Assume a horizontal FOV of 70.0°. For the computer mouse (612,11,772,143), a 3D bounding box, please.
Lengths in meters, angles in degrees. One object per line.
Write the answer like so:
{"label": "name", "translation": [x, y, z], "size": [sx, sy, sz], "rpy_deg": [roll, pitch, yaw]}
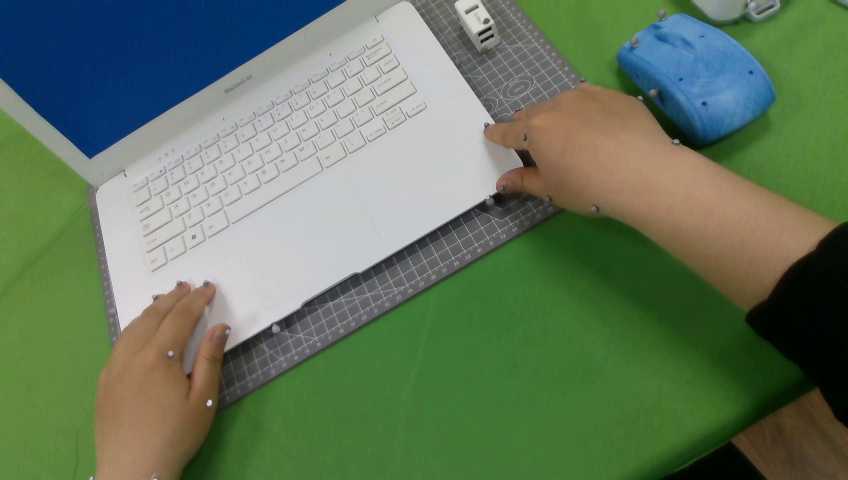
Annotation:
{"label": "computer mouse", "translation": [0.191, -0.125, 0.441], "size": [0.063, 0.041, 0.116], "rpy_deg": [-31, 54, 6]}

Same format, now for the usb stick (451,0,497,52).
{"label": "usb stick", "translation": [0.041, -0.196, 0.533], "size": [0.021, 0.027, 0.058], "rpy_deg": [-30, 56, 8]}

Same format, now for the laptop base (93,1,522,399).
{"label": "laptop base", "translation": [-0.119, -0.046, 0.524], "size": [0.354, 0.023, 0.233], "rpy_deg": [-31, 62, 3]}

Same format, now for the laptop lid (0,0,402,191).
{"label": "laptop lid", "translation": [-0.214, -0.203, 0.501], "size": [0.357, 0.244, 0.013], "rpy_deg": [-32, 45, 4]}

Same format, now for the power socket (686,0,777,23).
{"label": "power socket", "translation": [0.213, -0.264, 0.504], "size": [0.072, 0.033, 0.224], "rpy_deg": [-28, 59, 6]}
